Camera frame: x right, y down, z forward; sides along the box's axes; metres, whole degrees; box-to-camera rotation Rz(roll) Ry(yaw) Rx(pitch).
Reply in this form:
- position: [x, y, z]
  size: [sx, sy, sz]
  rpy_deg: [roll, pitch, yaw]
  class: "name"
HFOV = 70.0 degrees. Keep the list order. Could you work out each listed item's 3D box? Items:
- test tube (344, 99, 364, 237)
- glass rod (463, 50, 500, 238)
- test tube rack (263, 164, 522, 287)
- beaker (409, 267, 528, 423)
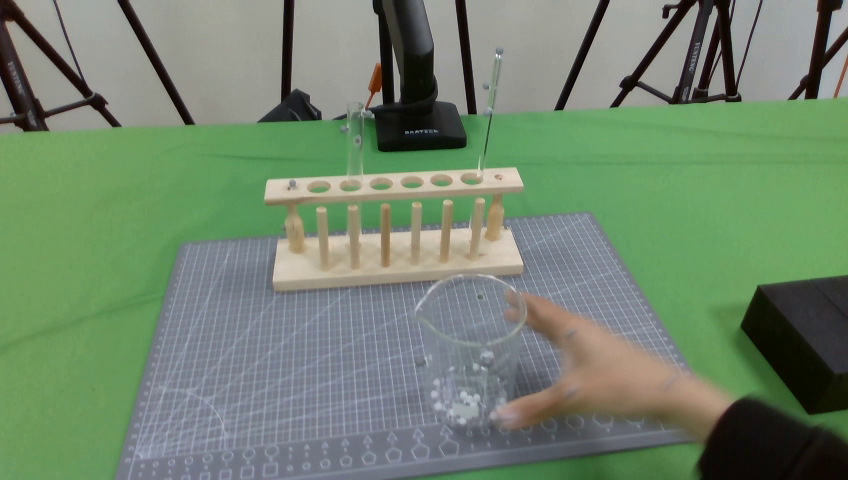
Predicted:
- position: [-0.066, -0.061, 0.565]
  size: [0.017, 0.151, 0.017]
  rpy_deg: [4, 40, -3]
  class: "test tube"
- position: [0.051, -0.079, 0.563]
  size: [0.008, 0.201, 0.008]
  rpy_deg: [4, 40, -3]
  class: "glass rod"
- position: [-0.027, -0.015, 0.588]
  size: [0.243, 0.086, 0.066]
  rpy_deg: [-4, 39, -6]
  class: "test tube rack"
- position: [0.032, 0.082, 0.454]
  size: [0.084, 0.101, 0.073]
  rpy_deg: [-3, 38, -3]
  class: "beaker"
